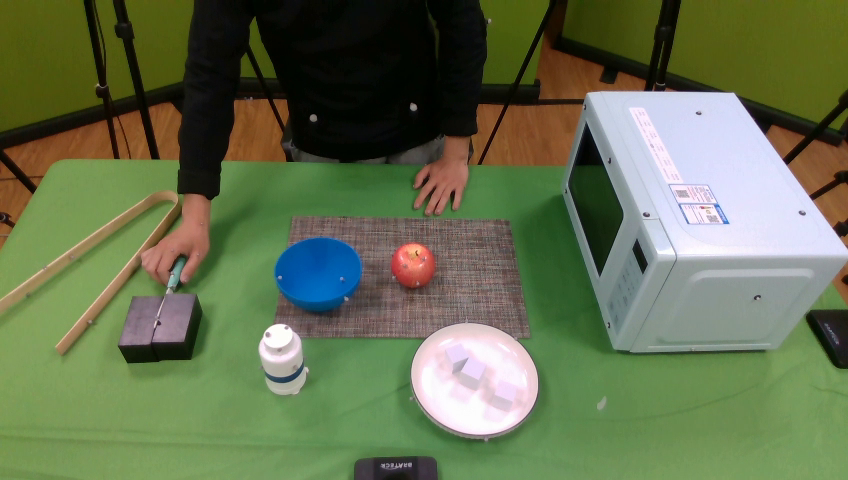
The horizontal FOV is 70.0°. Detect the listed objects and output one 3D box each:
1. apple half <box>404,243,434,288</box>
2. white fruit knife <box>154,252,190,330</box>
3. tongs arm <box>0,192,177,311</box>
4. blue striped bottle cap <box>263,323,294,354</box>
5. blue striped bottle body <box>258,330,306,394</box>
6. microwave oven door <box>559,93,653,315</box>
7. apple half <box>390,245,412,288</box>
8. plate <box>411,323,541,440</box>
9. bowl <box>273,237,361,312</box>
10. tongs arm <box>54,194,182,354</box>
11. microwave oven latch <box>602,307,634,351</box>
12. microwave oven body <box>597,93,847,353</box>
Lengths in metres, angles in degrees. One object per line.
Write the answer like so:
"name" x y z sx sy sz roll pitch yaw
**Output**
"apple half" -0.008 0.047 1.115 0.053 0.075 0.080 -8 44 -16
"white fruit knife" -0.438 0.083 1.053 0.016 0.027 0.206 -2 35 -5
"tongs arm" -0.618 0.019 1.123 0.050 0.026 0.384 23 47 17
"blue striped bottle cap" -0.217 0.146 0.900 0.044 0.021 0.044 1 46 -1
"blue striped bottle body" -0.220 0.182 0.937 0.063 0.121 0.062 2 46 -2
"microwave oven door" 0.327 -0.074 1.123 0.039 0.245 0.353 -1 46 -5
"apple half" -0.046 0.053 1.105 0.033 0.081 0.080 -8 47 -16
"plate" 0.082 0.228 0.976 0.208 0.039 0.206 2 45 -2
"bowl" -0.186 0.075 1.069 0.151 0.077 0.150 3 45 -3
"tongs arm" -0.543 0.048 1.107 0.028 0.028 0.385 11 45 10
"microwave oven latch" 0.332 0.153 1.044 0.030 0.029 0.078 -1 45 -4
"microwave oven body" 0.475 -0.041 1.109 0.326 0.261 0.438 -1 45 -4
